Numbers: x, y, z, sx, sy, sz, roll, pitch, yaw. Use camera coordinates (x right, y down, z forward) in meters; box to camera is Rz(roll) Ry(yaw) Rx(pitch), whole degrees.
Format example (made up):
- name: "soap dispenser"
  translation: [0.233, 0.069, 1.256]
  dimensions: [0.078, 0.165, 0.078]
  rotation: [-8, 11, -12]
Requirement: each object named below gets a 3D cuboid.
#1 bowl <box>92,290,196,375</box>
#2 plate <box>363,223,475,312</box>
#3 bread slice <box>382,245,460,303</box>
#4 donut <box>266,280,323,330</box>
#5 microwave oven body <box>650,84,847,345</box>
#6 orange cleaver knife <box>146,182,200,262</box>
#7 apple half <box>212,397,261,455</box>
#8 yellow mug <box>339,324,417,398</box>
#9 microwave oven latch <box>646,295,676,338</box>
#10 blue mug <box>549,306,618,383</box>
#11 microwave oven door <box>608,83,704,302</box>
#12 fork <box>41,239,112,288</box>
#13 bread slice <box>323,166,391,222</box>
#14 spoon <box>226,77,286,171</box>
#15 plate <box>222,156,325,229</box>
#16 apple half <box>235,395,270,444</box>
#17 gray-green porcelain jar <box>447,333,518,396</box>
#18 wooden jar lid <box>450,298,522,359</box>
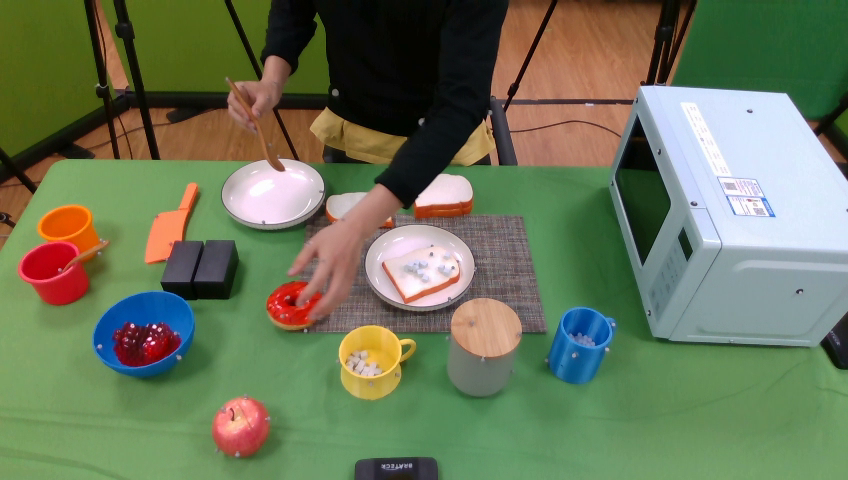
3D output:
- name: "bowl"
  translation: [-0.436, 0.161, 0.971]
  dimensions: [0.151, 0.077, 0.150]
  rotation: [2, 46, -2]
- name: "plate"
  translation: [-0.009, 0.054, 1.126]
  dimensions: [0.208, 0.039, 0.206]
  rotation: [2, 46, -2]
- name: "bread slice"
  translation: [0.000, 0.054, 1.129]
  dimensions: [0.131, 0.019, 0.104]
  rotation: [-20, 51, -20]
- name: "donut"
  translation: [-0.223, 0.113, 1.051]
  dimensions: [0.099, 0.048, 0.098]
  rotation: [2, 45, -2]
- name: "microwave oven body"
  translation: [0.569, -0.054, 1.116]
  dimensions: [0.326, 0.261, 0.439]
  rotation: [2, 46, -1]
- name: "orange cleaver knife"
  translation: [-0.494, -0.039, 1.199]
  dimensions: [0.077, 0.012, 0.210]
  rotation: [-3, 48, 2]
- name: "apple half"
  translation: [-0.276, 0.276, 0.877]
  dimensions: [0.053, 0.075, 0.080]
  rotation: [-29, 58, -21]
- name: "yellow mug"
  translation: [-0.072, 0.190, 0.978]
  dimensions: [0.131, 0.064, 0.099]
  rotation: [-17, 51, -20]
- name: "microwave oven latch"
  translation: [0.413, 0.133, 1.060]
  dimensions: [0.030, 0.029, 0.078]
  rotation: [4, 46, 1]
- name: "blue mug"
  translation: [0.269, 0.167, 0.997]
  dimensions: [0.116, 0.106, 0.082]
  rotation: [-19, 50, -21]
- name: "microwave oven door"
  translation: [0.424, -0.096, 1.138]
  dimensions: [0.039, 0.245, 0.353]
  rotation: [2, 47, -1]
- name: "fork"
  translation: [-0.591, 0.040, 1.028]
  dimensions: [0.207, 0.019, 0.028]
  rotation: [-27, 36, 29]
- name: "bread slice"
  translation: [-0.140, -0.091, 1.224]
  dimensions: [0.134, 0.018, 0.106]
  rotation: [-19, 51, 5]
- name: "spoon"
  translation: [-0.303, -0.208, 1.101]
  dimensions: [0.021, 0.194, 0.041]
  rotation: [-19, 27, 6]
- name: "plate"
  translation: [-0.308, -0.095, 1.251]
  dimensions: [0.209, 0.038, 0.208]
  rotation: [3, 46, -3]
- name: "apple half"
  translation: [-0.245, 0.259, 0.893]
  dimensions: [0.033, 0.082, 0.081]
  rotation: [-29, 55, -21]
- name: "gray-green porcelain jar"
  translation: [0.091, 0.178, 0.960]
  dimensions: [0.106, 0.127, 0.105]
  rotation: [2, 46, -2]
- name: "wooden jar lid"
  translation: [0.093, 0.135, 0.914]
  dimensions: [0.108, 0.021, 0.107]
  rotation: [3, 48, -3]
